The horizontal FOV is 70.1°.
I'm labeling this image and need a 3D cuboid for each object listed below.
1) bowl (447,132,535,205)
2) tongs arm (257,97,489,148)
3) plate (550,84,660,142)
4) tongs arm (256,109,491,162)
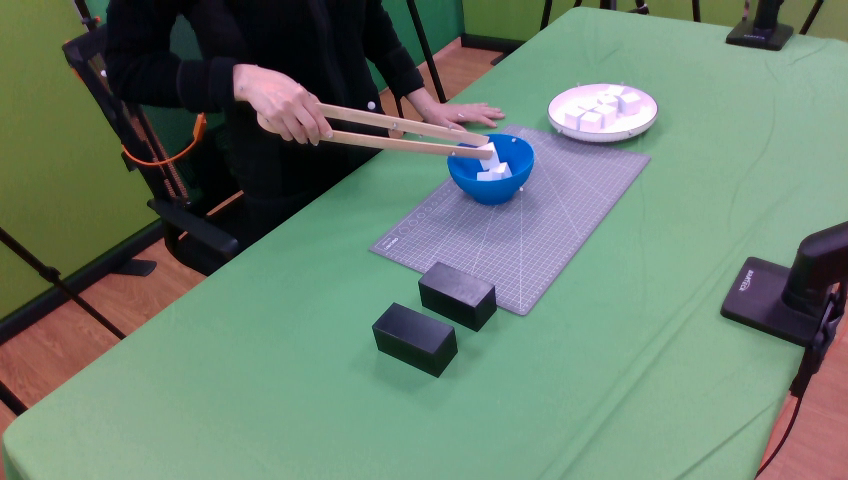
[{"bbox_3d":[0.119,-0.115,1.051,0.151,0.077,0.150,-6,40,5],"label":"bowl"},{"bbox_3d":[-0.077,-0.185,1.003,0.386,0.026,0.050,10,55,-11],"label":"tongs arm"},{"bbox_3d":[0.355,-0.246,1.195,0.207,0.039,0.206,-5,39,5],"label":"plate"},{"bbox_3d":[-0.076,-0.165,0.990,0.389,0.028,0.028,7,59,-13],"label":"tongs arm"}]
